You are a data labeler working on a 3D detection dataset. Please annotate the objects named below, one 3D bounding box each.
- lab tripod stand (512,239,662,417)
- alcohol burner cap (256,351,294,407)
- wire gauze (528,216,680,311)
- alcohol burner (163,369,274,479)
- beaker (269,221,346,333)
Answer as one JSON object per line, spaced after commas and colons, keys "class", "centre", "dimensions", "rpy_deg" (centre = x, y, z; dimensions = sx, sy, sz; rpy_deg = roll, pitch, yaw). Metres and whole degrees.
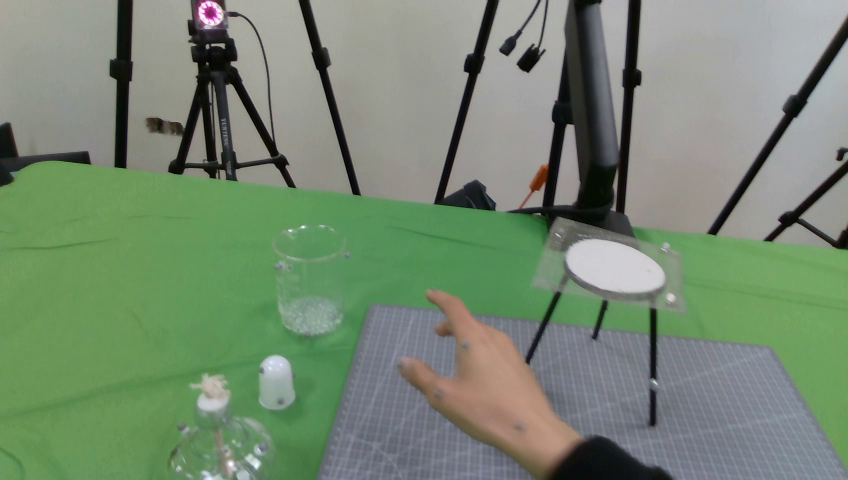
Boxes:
{"class": "lab tripod stand", "centre": [0.166, 0.078, 0.571], "dimensions": [0.148, 0.132, 0.147], "rpy_deg": [5, 30, -3]}
{"class": "alcohol burner cap", "centre": [-0.136, 0.123, 0.549], "dimensions": [0.034, 0.048, 0.033], "rpy_deg": [3, 30, -1]}
{"class": "wire gauze", "centre": [0.164, 0.019, 0.539], "dimensions": [0.121, 0.011, 0.124], "rpy_deg": [14, 32, 15]}
{"class": "alcohol burner", "centre": [-0.151, 0.143, 0.440], "dimensions": [0.078, 0.120, 0.077], "rpy_deg": [2, 30, -1]}
{"class": "beaker", "centre": [-0.123, 0.040, 0.637], "dimensions": [0.074, 0.101, 0.083], "rpy_deg": [-20, 38, -36]}
